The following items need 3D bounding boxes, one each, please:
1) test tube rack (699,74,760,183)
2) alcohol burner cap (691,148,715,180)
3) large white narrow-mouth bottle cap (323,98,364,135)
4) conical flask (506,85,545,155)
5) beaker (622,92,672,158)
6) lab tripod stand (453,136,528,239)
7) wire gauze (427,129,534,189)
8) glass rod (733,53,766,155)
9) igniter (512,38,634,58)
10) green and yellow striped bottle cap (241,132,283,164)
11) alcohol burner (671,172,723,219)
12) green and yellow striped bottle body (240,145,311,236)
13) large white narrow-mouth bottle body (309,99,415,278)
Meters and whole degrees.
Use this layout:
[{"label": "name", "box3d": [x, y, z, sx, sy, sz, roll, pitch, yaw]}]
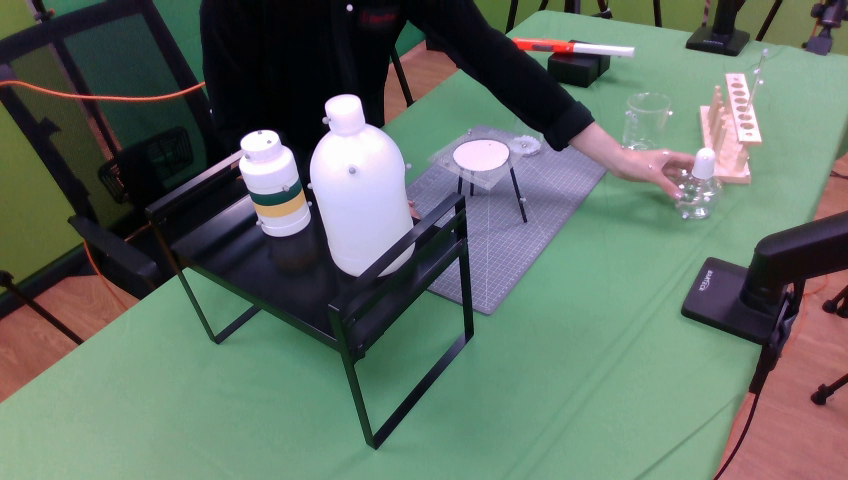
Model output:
[{"label": "test tube rack", "box3d": [0.547, -0.208, 1.095, 0.066, 0.085, 0.242, 6, 42, 15]}, {"label": "alcohol burner cap", "box3d": [0.432, -0.120, 0.930, 0.034, 0.048, 0.033, -7, 48, 8]}, {"label": "large white narrow-mouth bottle cap", "box3d": [-0.077, -0.120, 0.585, 0.038, 0.024, 0.037, -4, 42, 4]}, {"label": "conical flask", "box3d": [0.191, -0.227, 1.134, 0.075, 0.122, 0.075, -4, 41, 4]}, {"label": "beaker", "box3d": [0.403, -0.210, 1.106, 0.074, 0.101, 0.083, -8, 40, -2]}, {"label": "lab tripod stand", "box3d": [0.094, -0.086, 0.974, 0.148, 0.132, 0.147, -3, 43, 4]}, {"label": "wire gauze", "box3d": [0.086, -0.131, 0.924, 0.124, 0.011, 0.122, 26, 51, 33]}, {"label": "glass rod", "box3d": [0.540, -0.219, 1.006, 0.008, 0.201, 0.008, -5, 45, 6]}, {"label": "igniter", "box3d": [0.328, -0.433, 1.360, 0.275, 0.025, 0.057, 12, 33, 20]}, {"label": "green and yellow striped bottle cap", "box3d": [-0.187, -0.106, 0.695, 0.045, 0.020, 0.045, -4, 39, 3]}, {"label": "alcohol burner", "box3d": [0.434, -0.093, 0.955, 0.078, 0.119, 0.077, -3, 42, 3]}, {"label": "green and yellow striped bottle body", "box3d": [-0.181, -0.068, 0.729, 0.063, 0.120, 0.063, -4, 40, 4]}, {"label": "large white narrow-mouth bottle body", "box3d": [-0.068, -0.057, 0.645, 0.102, 0.195, 0.101, -4, 43, 4]}]
